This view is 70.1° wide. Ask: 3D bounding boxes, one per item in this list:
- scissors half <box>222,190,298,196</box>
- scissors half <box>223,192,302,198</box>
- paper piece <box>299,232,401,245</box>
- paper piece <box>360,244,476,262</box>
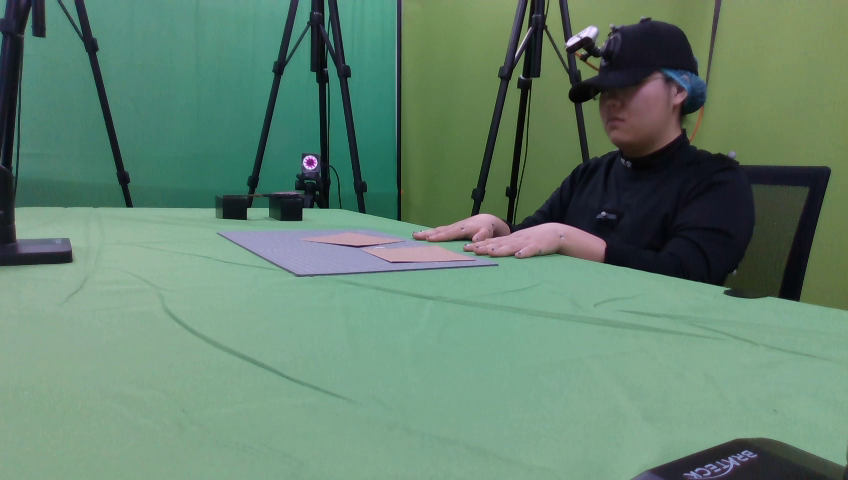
[{"bbox_3d":[-0.372,-0.105,1.380,0.176,0.013,0.040,-6,18,-38],"label":"scissors half"},{"bbox_3d":[-0.362,-0.100,1.364,0.176,0.013,0.040,-2,11,-23],"label":"scissors half"},{"bbox_3d":[-0.127,-0.003,1.052,0.135,0.004,0.136,6,8,32],"label":"paper piece"},{"bbox_3d":[-0.012,0.020,0.914,0.136,0.008,0.137,-4,9,-24],"label":"paper piece"}]
